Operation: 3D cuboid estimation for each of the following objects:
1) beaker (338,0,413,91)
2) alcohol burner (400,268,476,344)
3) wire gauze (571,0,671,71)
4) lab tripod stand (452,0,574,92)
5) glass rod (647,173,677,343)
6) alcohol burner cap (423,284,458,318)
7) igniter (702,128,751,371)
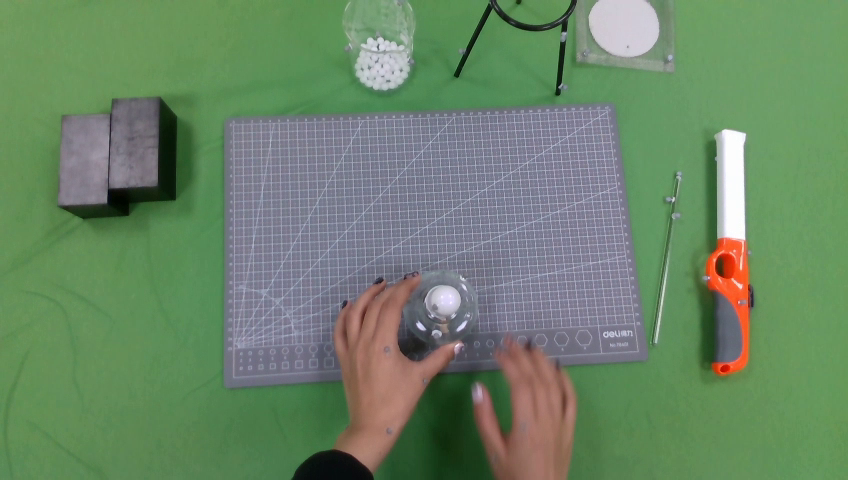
[{"bbox_3d":[-0.049,-0.213,0.665,0.084,0.100,0.074,42,80,5],"label":"beaker"},{"bbox_3d":[0.015,0.063,0.601,0.078,0.119,0.077,1,76,-3],"label":"alcohol burner"},{"bbox_3d":[0.238,-0.267,0.737,0.125,0.011,0.121,4,78,0],"label":"wire gauze"},{"bbox_3d":[0.102,-0.238,0.660,0.148,0.132,0.147,0,77,-1],"label":"lab tripod stand"},{"bbox_3d":[0.267,0.017,0.680,0.008,0.008,0.199,13,79,0],"label":"glass rod"},{"bbox_3d":[0.018,0.057,0.566,0.034,0.048,0.034,1,82,-4],"label":"alcohol burner cap"},{"bbox_3d":[0.337,0.008,0.675,0.057,0.025,0.275,8,78,-12],"label":"igniter"}]
